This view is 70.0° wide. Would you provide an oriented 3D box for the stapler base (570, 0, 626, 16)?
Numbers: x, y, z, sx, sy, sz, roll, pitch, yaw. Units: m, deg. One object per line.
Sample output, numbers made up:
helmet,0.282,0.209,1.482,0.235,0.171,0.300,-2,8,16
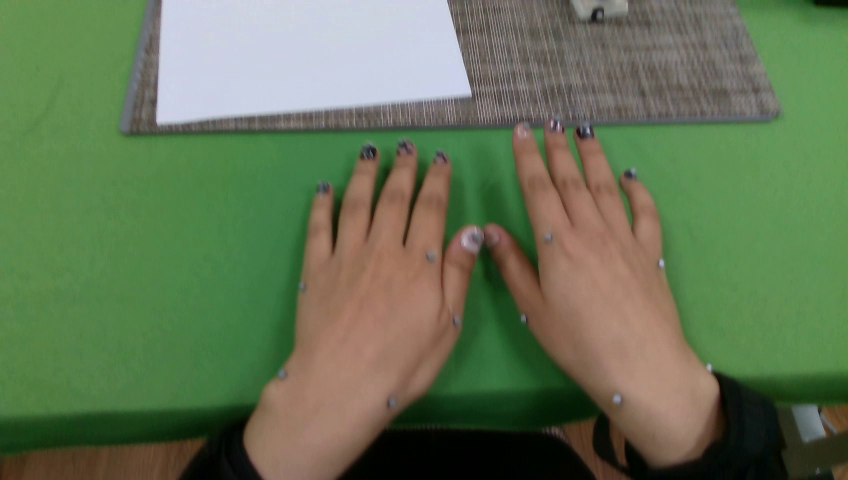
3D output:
stapler base,0.123,-0.235,0.485,0.041,0.024,0.129,-12,65,-6
